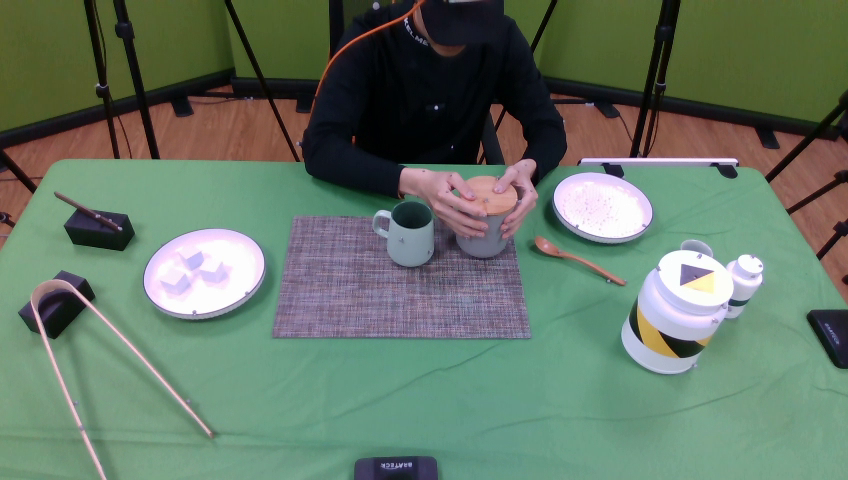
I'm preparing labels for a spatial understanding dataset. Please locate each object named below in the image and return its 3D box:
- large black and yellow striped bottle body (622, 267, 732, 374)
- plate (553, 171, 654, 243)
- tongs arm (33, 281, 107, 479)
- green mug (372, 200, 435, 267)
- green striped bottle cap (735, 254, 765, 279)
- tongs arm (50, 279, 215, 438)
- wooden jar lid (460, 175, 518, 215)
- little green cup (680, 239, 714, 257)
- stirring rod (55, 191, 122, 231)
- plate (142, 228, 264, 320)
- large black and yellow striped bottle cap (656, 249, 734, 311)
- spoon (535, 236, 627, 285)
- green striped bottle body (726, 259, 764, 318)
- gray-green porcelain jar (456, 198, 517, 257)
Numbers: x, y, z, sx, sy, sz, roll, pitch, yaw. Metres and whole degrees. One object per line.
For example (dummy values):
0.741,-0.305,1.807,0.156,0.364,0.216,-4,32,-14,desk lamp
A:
0.415,0.119,0.997,0.131,0.185,0.130,2,46,-2,large black and yellow striped bottle body
0.373,-0.066,1.275,0.209,0.038,0.208,2,46,-2,plate
-0.517,0.214,0.910,0.051,0.026,0.383,-28,63,-27,tongs arm
-0.040,-0.016,1.146,0.125,0.105,0.092,17,48,13,green mug
0.566,0.046,1.051,0.044,0.020,0.044,1,45,0,green striped bottle cap
-0.459,0.178,0.949,0.386,0.028,0.028,38,60,17,tongs arm
0.118,-0.079,1.117,0.108,0.021,0.107,3,44,-3,wooden jar lid
0.530,0.033,1.190,0.061,0.039,0.061,2,48,-2,little green cup
-0.632,-0.055,1.138,0.175,0.014,0.006,24,50,19,stirring rod
-0.394,0.064,1.095,0.208,0.039,0.206,2,46,-2,plate
0.419,0.061,0.938,0.115,0.019,0.114,2,47,-2,large black and yellow striped bottle cap
0.303,0.040,1.178,0.193,0.022,0.041,25,33,20,spoon
0.563,0.081,1.089,0.063,0.120,0.063,2,46,-2,green striped bottle body
0.117,-0.038,1.161,0.106,0.127,0.105,2,47,-2,gray-green porcelain jar
